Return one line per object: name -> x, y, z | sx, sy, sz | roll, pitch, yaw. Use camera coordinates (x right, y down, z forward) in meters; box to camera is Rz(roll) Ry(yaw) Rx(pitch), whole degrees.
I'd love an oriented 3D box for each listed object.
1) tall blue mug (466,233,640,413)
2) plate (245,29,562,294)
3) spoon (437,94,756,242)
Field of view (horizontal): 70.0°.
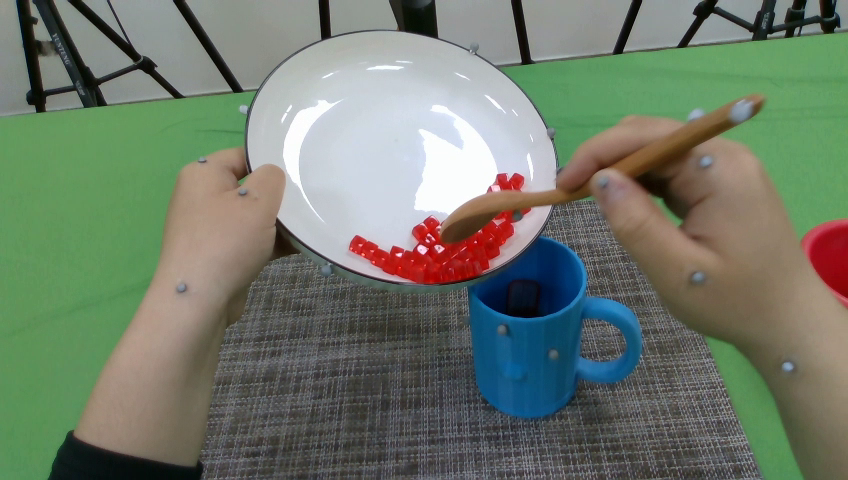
tall blue mug -> 0.085, 0.056, 0.419 | 0.107, 0.109, 0.077 | -10, 43, -1
plate -> -0.012, -0.055, 0.409 | 0.208, 0.039, 0.206 | 6, 60, -10
spoon -> 0.064, -0.025, 0.284 | 0.042, 0.021, 0.193 | -14, -2, -33
